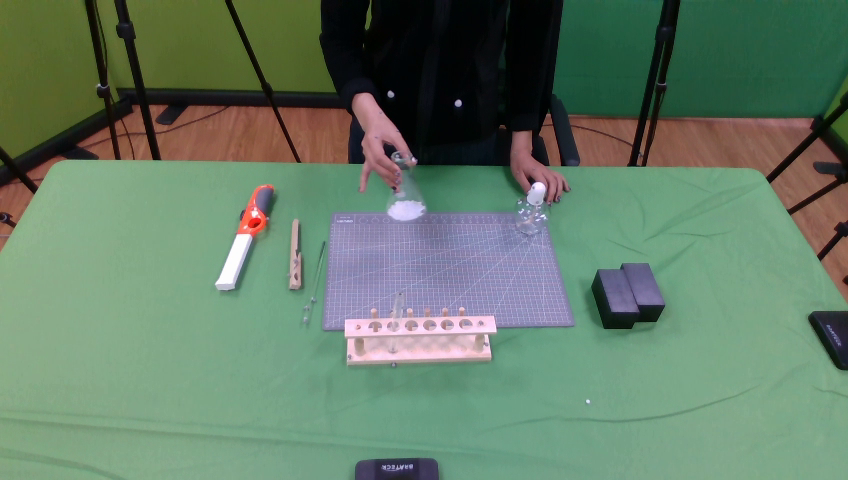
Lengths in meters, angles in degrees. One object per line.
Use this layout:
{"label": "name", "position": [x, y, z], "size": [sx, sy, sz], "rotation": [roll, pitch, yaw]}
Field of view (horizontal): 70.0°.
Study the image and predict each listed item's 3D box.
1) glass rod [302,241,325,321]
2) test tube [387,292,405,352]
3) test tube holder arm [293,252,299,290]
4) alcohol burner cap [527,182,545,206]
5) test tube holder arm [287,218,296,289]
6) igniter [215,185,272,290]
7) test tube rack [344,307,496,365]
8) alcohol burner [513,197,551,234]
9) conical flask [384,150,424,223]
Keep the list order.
{"label": "glass rod", "position": [-0.204, 0.071, 1.124], "size": [0.008, 0.008, 0.198], "rotation": [4, 44, 0]}
{"label": "test tube", "position": [-0.045, 0.133, 0.956], "size": [0.017, 0.151, 0.017], "rotation": [5, 47, -5]}
{"label": "test tube holder arm", "position": [-0.241, 0.056, 1.131], "size": [0.010, 0.015, 0.087], "rotation": [25, 35, -33]}
{"label": "alcohol burner cap", "position": [0.222, -0.092, 1.190], "size": [0.034, 0.048, 0.033], "rotation": [2, 54, -3]}
{"label": "test tube holder arm", "position": [-0.254, 0.022, 1.158], "size": [0.013, 0.015, 0.177], "rotation": [24, 36, -35]}
{"label": "igniter", "position": [-0.347, -0.014, 1.182], "size": [0.057, 0.025, 0.275], "rotation": [-1, 45, 8]}
{"label": "test tube rack", "position": [-0.009, 0.154, 1.007], "size": [0.242, 0.085, 0.066], "rotation": [-1, 46, -5]}
{"label": "alcohol burner", "position": [0.220, -0.069, 1.217], "size": [0.078, 0.119, 0.077], "rotation": [3, 47, -3]}
{"label": "conical flask", "position": [-0.039, -0.098, 1.089], "size": [0.075, 0.122, 0.075], "rotation": [-2, 33, 2]}
